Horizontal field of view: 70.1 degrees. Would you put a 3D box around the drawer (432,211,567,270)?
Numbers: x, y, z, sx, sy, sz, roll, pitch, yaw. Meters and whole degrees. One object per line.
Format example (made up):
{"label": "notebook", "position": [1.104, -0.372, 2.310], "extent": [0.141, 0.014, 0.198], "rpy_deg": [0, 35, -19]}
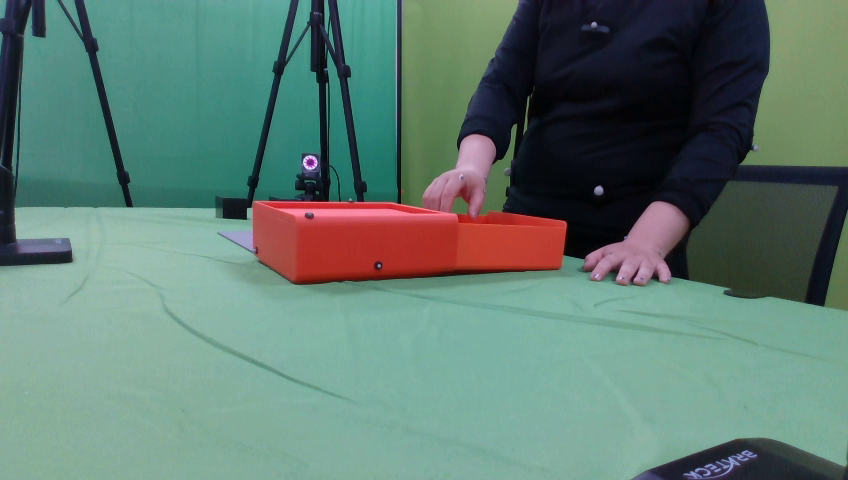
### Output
{"label": "drawer", "position": [0.063, -0.005, 0.878], "extent": [0.213, 0.073, 0.193], "rpy_deg": [1, 7, -30]}

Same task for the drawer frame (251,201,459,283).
{"label": "drawer frame", "position": [-0.095, -0.005, 0.788], "extent": [0.215, 0.082, 0.200], "rpy_deg": [-2, 10, -30]}

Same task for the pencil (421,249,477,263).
{"label": "pencil", "position": [0.042, 0.021, 0.876], "extent": [0.012, 0.012, 0.195], "rpy_deg": [6, 5, 26]}
